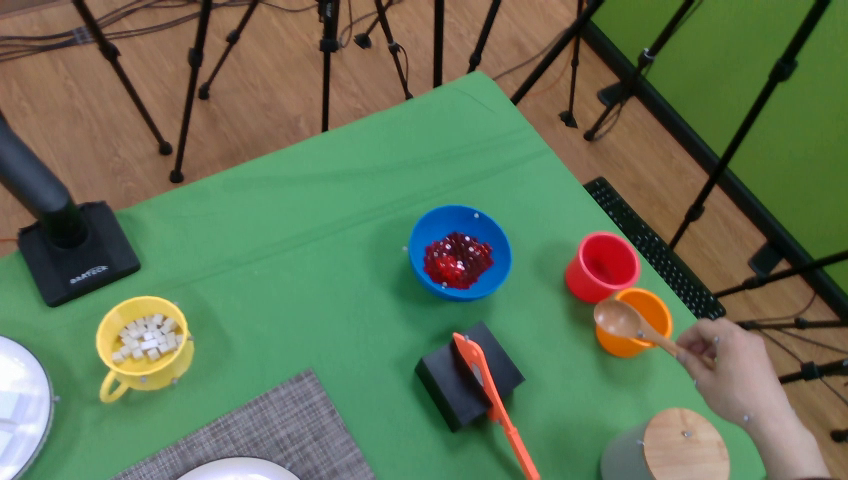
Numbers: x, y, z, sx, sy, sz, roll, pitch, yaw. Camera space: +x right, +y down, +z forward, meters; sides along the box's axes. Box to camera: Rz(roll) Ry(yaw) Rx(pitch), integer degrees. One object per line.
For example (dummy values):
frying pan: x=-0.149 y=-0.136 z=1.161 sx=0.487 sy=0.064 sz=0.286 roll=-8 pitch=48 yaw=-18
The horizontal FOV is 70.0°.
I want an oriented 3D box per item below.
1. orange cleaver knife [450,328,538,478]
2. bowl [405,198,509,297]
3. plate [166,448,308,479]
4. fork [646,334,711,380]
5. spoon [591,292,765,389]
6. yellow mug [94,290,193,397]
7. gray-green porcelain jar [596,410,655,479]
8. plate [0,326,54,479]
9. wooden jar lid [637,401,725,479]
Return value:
orange cleaver knife: x=0.088 y=0.209 z=0.785 sx=0.012 sy=0.077 sz=0.211 roll=-27 pitch=95 yaw=-23
bowl: x=0.040 y=0.023 z=0.878 sx=0.152 sy=0.077 sz=0.150 roll=6 pitch=61 yaw=-10
plate: x=-0.212 y=0.338 z=0.663 sx=0.210 sy=0.038 sz=0.207 roll=6 pitch=61 yaw=-11
fork: x=0.316 y=0.137 z=0.841 sx=0.028 sy=0.019 sz=0.205 roll=-4 pitch=19 yaw=-22
spoon: x=0.273 y=0.112 z=0.665 sx=0.192 sy=0.022 sz=0.041 roll=29 pitch=86 yaw=34
yellow mug: x=-0.346 y=0.131 z=0.732 sx=0.100 sy=0.064 sz=0.130 roll=26 pitch=60 yaw=2
gray-green porcelain jar: x=0.288 y=0.277 z=0.771 sx=0.106 sy=0.127 sz=0.105 roll=6 pitch=60 yaw=-10
plate: x=-0.523 y=0.194 z=0.670 sx=0.208 sy=0.039 sz=0.206 roll=6 pitch=61 yaw=-10
wooden jar lid: x=0.301 y=0.246 z=0.717 sx=0.108 sy=0.021 sz=0.107 roll=5 pitch=61 yaw=-9
